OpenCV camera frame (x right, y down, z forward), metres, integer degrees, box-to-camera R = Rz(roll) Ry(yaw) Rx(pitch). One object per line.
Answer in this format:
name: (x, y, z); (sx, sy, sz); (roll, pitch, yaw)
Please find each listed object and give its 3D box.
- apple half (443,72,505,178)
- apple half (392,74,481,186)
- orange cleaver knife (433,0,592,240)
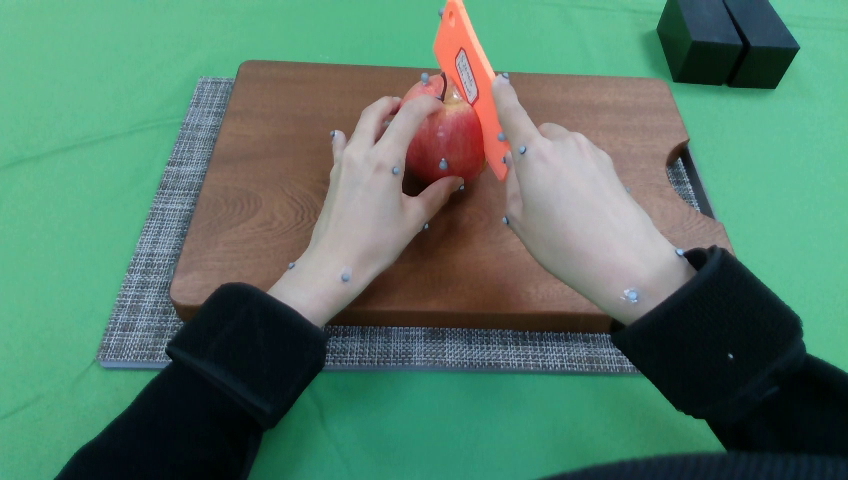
apple half: (0.042, -0.090, 0.470); (0.033, 0.082, 0.080); (-16, 54, -18)
apple half: (0.004, -0.078, 0.457); (0.053, 0.075, 0.080); (-19, 58, -12)
orange cleaver knife: (0.049, -0.076, 0.406); (0.012, 0.078, 0.209); (-17, 61, -15)
